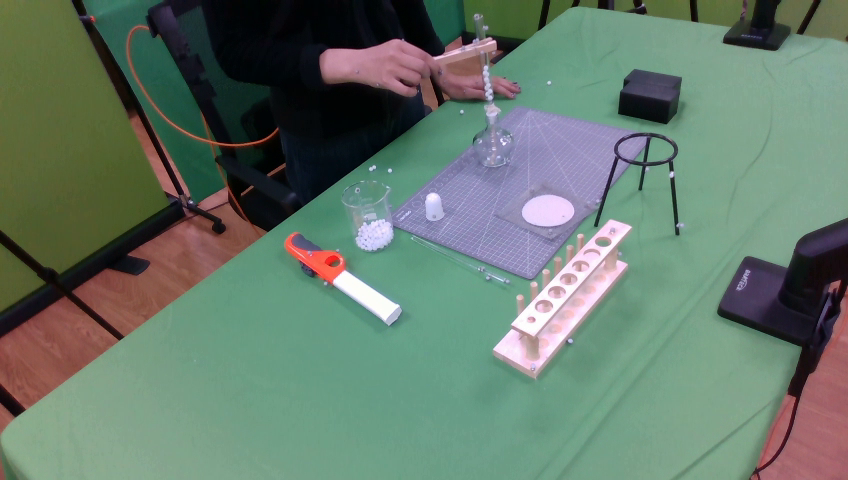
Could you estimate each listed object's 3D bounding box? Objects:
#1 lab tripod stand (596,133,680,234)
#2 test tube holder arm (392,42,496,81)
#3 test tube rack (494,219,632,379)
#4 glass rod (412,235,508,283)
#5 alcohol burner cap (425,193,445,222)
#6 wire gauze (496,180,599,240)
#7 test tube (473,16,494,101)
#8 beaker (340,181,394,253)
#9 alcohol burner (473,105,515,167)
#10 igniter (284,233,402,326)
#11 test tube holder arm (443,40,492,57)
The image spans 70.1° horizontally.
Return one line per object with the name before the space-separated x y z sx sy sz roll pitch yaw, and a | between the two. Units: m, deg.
lab tripod stand | 0.338 -0.090 0.940 0.148 0.132 0.147 -7 39 6
test tube holder arm | 0.034 -0.291 0.983 0.179 0.015 0.013 -20 35 -9
test tube rack | 0.191 0.068 0.818 0.066 0.085 0.243 25 51 35
glass rod | 0.051 0.028 0.951 0.198 0.008 0.008 25 52 37
alcohol burner cap | 0.017 -0.058 1.029 0.034 0.048 0.033 -6 40 5
wire gauze | 0.206 -0.050 1.012 0.125 0.011 0.120 -34 45 -26
test tube | 0.100 -0.300 1.011 0.017 0.151 0.017 -9 41 8
beaker | -0.086 -0.037 0.985 0.084 0.101 0.073 -18 41 -11
alcohol burner | 0.128 -0.196 1.116 0.078 0.119 0.077 -4 40 4
igniter | -0.136 0.054 0.942 0.274 0.025 0.057 30 63 37
test tube holder arm | 0.073 -0.310 0.996 0.088 0.015 0.010 -24 36 -14
